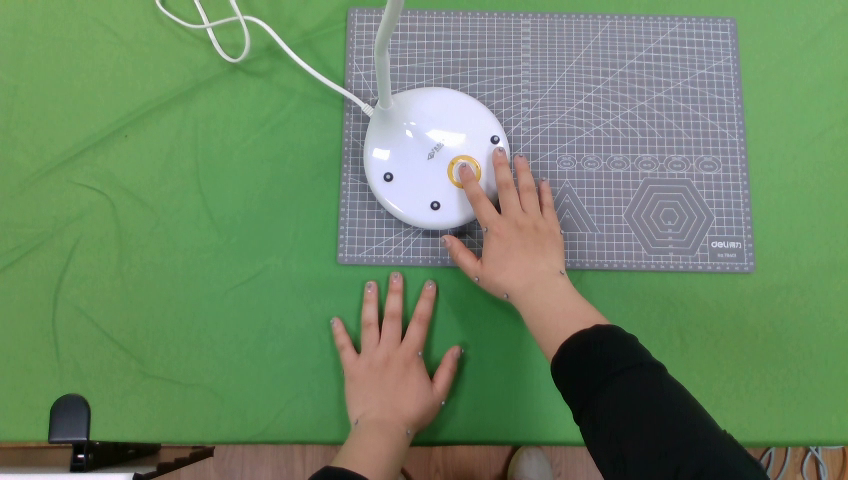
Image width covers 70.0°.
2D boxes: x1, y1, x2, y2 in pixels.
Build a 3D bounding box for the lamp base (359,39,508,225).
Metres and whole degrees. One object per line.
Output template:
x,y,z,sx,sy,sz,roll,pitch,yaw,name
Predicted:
-0.001,-0.114,0.583,0.179,0.181,0.160,28,80,7,lamp base
